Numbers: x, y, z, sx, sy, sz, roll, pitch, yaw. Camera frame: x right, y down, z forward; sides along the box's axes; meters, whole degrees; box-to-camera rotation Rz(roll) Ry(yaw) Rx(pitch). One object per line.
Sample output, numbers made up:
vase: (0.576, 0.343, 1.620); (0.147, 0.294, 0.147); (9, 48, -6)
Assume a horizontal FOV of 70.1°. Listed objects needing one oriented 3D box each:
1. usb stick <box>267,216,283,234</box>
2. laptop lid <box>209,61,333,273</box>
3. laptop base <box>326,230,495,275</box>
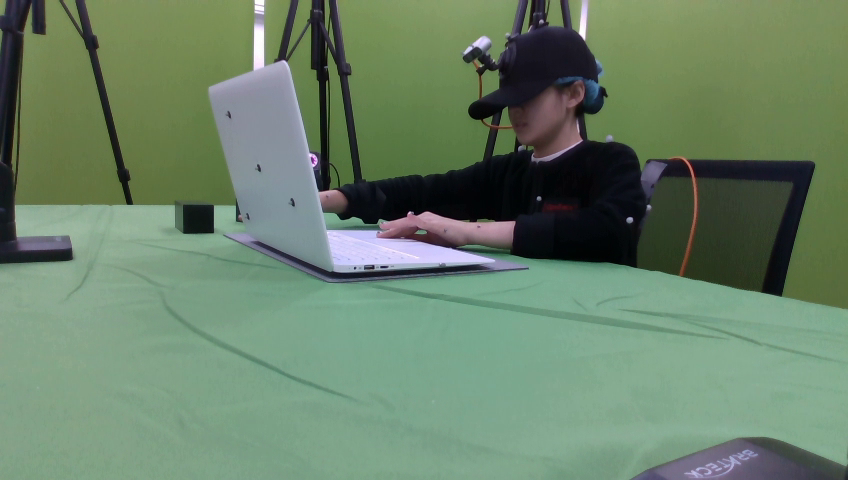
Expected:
usb stick: (-0.266, -0.026, 1.081); (0.021, 0.027, 0.059); (-1, 15, -24)
laptop lid: (-0.213, -0.095, 0.790); (0.013, 0.241, 0.355); (-18, 18, -29)
laptop base: (-0.093, 0.016, 0.884); (0.237, 0.023, 0.352); (3, 6, -33)
